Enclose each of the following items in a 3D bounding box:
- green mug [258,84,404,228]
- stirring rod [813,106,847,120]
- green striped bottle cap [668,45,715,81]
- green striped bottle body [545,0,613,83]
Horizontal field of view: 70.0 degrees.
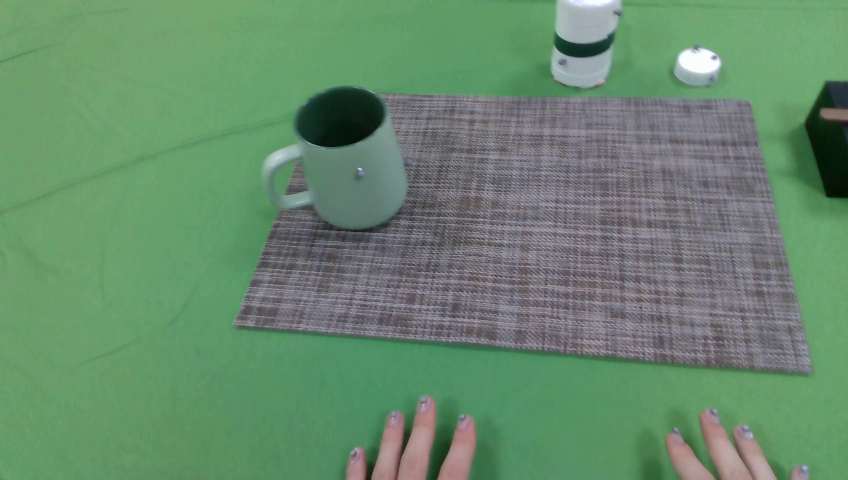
[{"bbox_3d":[-0.083,-0.065,0.534,0.125,0.106,0.091,-23,54,-11],"label":"green mug"},{"bbox_3d":[0.424,-0.104,0.508,0.176,0.006,0.014,4,56,11],"label":"stirring rod"},{"bbox_3d":[0.284,-0.188,0.643,0.044,0.020,0.044,-3,49,4],"label":"green striped bottle cap"},{"bbox_3d":[0.159,-0.227,0.622,0.063,0.120,0.062,-3,53,5],"label":"green striped bottle body"}]
